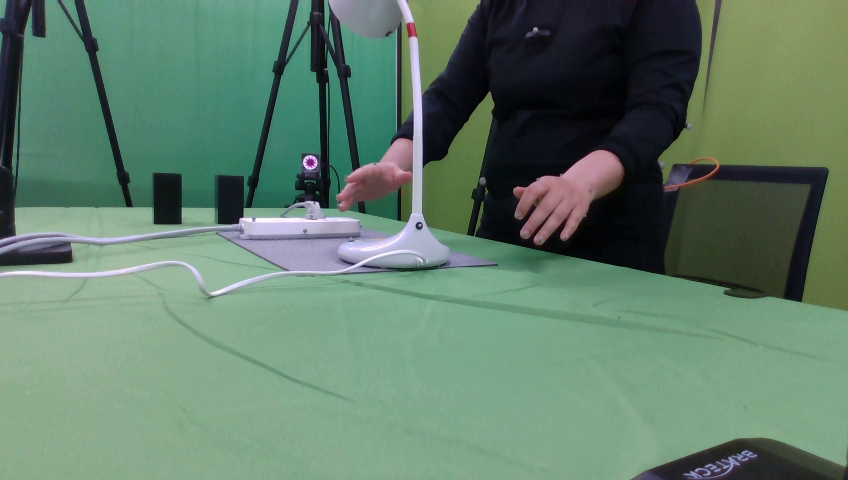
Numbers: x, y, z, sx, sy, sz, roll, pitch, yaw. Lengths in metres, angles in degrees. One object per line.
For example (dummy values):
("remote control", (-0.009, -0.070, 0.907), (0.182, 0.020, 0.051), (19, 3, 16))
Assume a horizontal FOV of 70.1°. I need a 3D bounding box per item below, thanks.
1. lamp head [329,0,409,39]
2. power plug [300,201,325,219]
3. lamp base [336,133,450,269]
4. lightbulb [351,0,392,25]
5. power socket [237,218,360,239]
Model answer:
("lamp head", (-0.062, -0.357, 0.841), (0.113, 0.112, 0.122), (-1, -14, -29))
("power plug", (-0.207, -0.046, 1.120), (0.035, 0.052, 0.072), (1, 4, -21))
("lamp base", (-0.032, -0.057, 0.830), (0.161, 0.180, 0.178), (-2, 11, -34))
("lightbulb", (-0.069, -0.354, 0.866), (0.060, 0.059, 0.107), (0, -19, -21))
("power socket", (-0.220, -0.023, 1.080), (0.228, 0.032, 0.072), (-2, 8, -33))
